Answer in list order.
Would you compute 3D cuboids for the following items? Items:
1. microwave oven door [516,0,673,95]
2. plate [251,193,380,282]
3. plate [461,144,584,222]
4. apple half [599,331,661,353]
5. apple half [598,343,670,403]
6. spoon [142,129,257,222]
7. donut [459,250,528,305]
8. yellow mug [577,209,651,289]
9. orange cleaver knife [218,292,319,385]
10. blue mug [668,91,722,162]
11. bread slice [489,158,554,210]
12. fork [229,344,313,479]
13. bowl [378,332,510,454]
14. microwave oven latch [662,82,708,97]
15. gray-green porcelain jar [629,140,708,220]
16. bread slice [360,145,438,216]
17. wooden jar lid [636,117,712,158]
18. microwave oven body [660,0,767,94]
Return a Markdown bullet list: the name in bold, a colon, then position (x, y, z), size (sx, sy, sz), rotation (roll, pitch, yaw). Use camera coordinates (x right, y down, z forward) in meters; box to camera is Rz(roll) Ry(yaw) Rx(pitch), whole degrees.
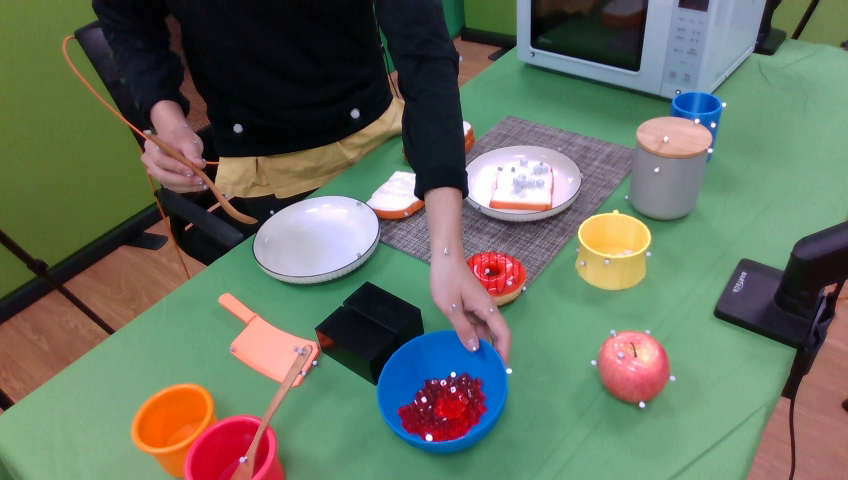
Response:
- **microwave oven door**: position (0.344, -0.458, 1.256), size (0.353, 0.245, 0.039), rotation (26, 51, 33)
- **plate**: position (-0.173, -0.001, 0.984), size (0.209, 0.038, 0.208), rotation (-4, 40, 4)
- **plate**: position (0.167, -0.095, 1.040), size (0.207, 0.039, 0.206), rotation (-4, 40, 4)
- **apple half**: position (0.249, 0.134, 0.738), size (0.081, 0.081, 0.032), rotation (-1, 46, 7)
- **apple half**: position (0.247, 0.161, 0.710), size (0.081, 0.075, 0.053), rotation (2, 46, 4)
- **spoon**: position (-0.304, -0.085, 0.831), size (0.021, 0.195, 0.041), rotation (-49, 36, -12)
- **donut**: position (0.100, 0.053, 0.873), size (0.099, 0.048, 0.098), rotation (-4, 39, 4)
- **yellow mug**: position (0.279, 0.005, 0.893), size (0.099, 0.064, 0.130), rotation (5, 41, 15)
- **orange cleaver knife**: position (-0.235, 0.136, 0.850), size (0.209, 0.012, 0.077), rotation (25, 56, 30)
- **blue mug**: position (0.474, -0.206, 1.079), size (0.082, 0.106, 0.116), rotation (4, 42, 13)
- **bread slice**: position (0.173, -0.100, 1.047), size (0.104, 0.019, 0.131), rotation (4, 42, 12)
- **fork**: position (-0.173, 0.205, 0.662), size (0.028, 0.019, 0.207), rotation (29, 94, 36)
- **bowl**: position (0.028, 0.189, 0.702), size (0.151, 0.077, 0.150), rotation (-6, 41, 6)
- **microwave oven latch**: position (0.518, -0.298, 1.203), size (0.078, 0.029, 0.030), rotation (28, 53, 35)
- **gray-green porcelain jar**: position (0.383, -0.104, 0.958), size (0.106, 0.127, 0.105), rotation (-4, 41, 4)
- **bread slice**: position (-0.052, -0.103, 1.046), size (0.106, 0.018, 0.134), rotation (19, 67, 23)
- **wooden jar lid**: position (0.377, -0.151, 0.917), size (0.108, 0.021, 0.108), rotation (-2, 41, 3)
- **microwave oven body**: position (0.474, -0.517, 1.313), size (0.438, 0.261, 0.327), rotation (26, 51, 34)
